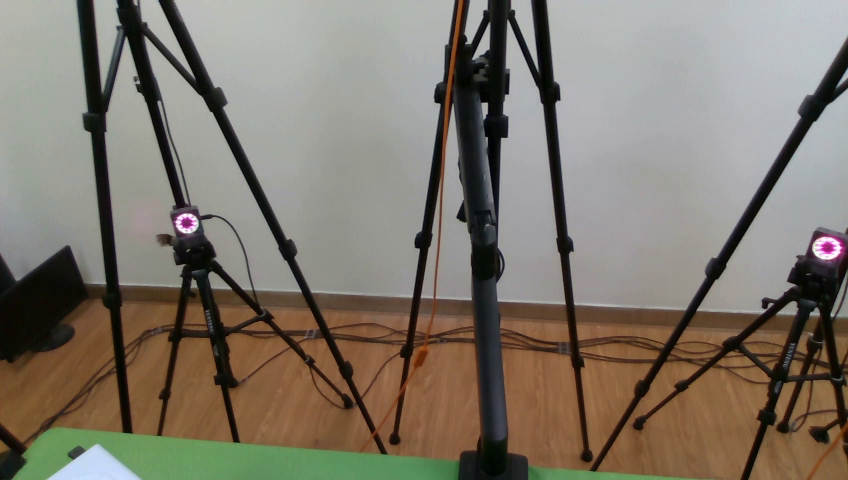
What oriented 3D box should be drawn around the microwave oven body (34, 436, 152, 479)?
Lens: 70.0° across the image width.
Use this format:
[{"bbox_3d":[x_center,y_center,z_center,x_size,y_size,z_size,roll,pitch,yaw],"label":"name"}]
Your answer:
[{"bbox_3d":[-0.451,0.505,0.677,0.323,0.262,0.441,20,39,29],"label":"microwave oven body"}]
